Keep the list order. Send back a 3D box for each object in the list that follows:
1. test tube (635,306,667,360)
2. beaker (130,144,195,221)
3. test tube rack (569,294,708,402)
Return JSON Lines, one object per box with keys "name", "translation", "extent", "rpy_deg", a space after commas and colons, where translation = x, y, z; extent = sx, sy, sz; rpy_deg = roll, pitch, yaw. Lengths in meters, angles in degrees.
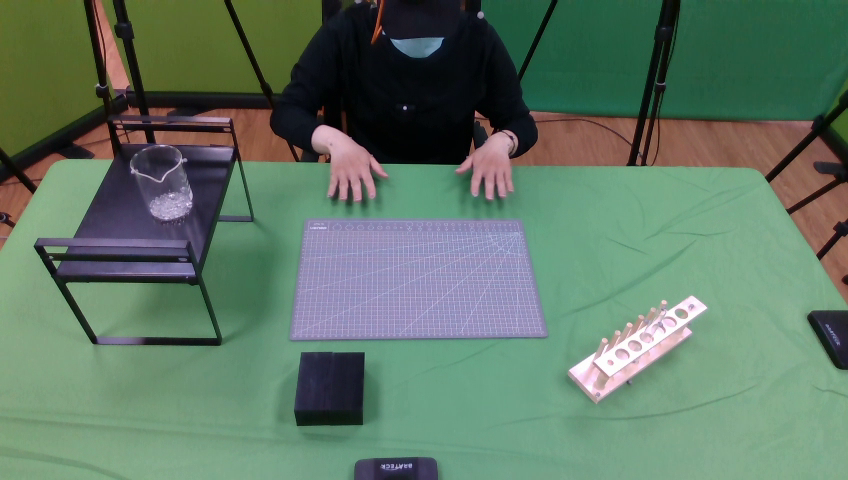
{"name": "test tube", "translation": [0.355, 0.151, 0.961], "extent": [0.017, 0.151, 0.017], "rpy_deg": [0, 51, 0]}
{"name": "beaker", "translation": [-0.403, -0.085, 0.944], "extent": [0.074, 0.101, 0.083], "rpy_deg": [-15, 50, -17]}
{"name": "test tube rack", "translation": [0.360, 0.167, 1.014], "extent": [0.242, 0.085, 0.066], "rpy_deg": [-25, 53, -25]}
